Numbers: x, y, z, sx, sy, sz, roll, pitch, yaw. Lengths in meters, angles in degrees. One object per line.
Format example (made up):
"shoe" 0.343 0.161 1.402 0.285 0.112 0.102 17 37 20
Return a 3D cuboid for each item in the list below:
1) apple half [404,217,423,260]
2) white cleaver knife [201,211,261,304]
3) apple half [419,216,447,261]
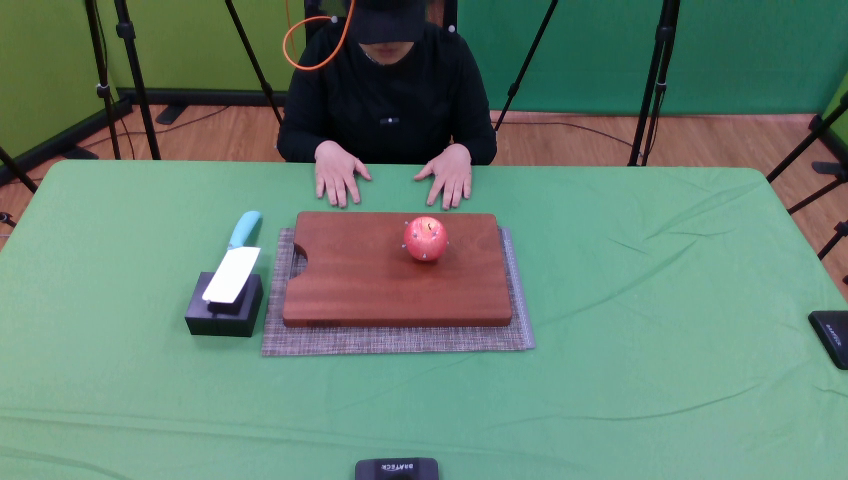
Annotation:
"apple half" -0.022 -0.001 1.121 0.033 0.081 0.081 3 46 -7
"white cleaver knife" -0.336 0.029 1.110 0.066 0.021 0.285 6 34 -3
"apple half" 0.016 0.000 1.125 0.053 0.075 0.080 4 43 -6
